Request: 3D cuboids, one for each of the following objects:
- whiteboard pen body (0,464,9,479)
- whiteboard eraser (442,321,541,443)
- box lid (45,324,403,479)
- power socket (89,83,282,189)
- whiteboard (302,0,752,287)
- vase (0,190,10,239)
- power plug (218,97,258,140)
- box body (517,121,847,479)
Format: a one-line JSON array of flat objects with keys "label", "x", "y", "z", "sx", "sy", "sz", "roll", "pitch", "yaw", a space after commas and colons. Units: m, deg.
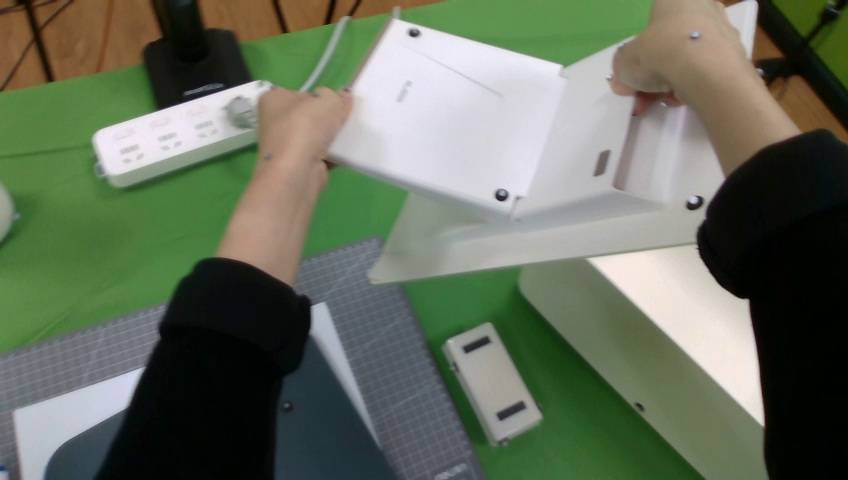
[{"label": "whiteboard pen body", "x": -0.351, "y": 0.255, "z": 0.497, "sx": 0.017, "sy": 0.017, "sz": 0.139, "roll": -11, "pitch": 65, "yaw": -13}, {"label": "whiteboard eraser", "x": 0.066, "y": 0.141, "z": 0.609, "sx": 0.056, "sy": 0.042, "sz": 0.111, "roll": -20, "pitch": 66, "yaw": -20}, {"label": "box lid", "x": -0.136, "y": 0.271, "z": 0.526, "sx": 0.263, "sy": 0.015, "sz": 0.368, "roll": -29, "pitch": 69, "yaw": -21}, {"label": "power socket", "x": -0.276, "y": -0.126, "z": 0.715, "sx": 0.227, "sy": 0.033, "sz": 0.071, "roll": -24, "pitch": 67, "yaw": -19}, {"label": "whiteboard", "x": 0.051, "y": -0.106, "z": 0.449, "sx": 0.145, "sy": 0.304, "sz": 0.216, "roll": 44, "pitch": 54, "yaw": -31}, {"label": "vase", "x": -0.475, "y": -0.059, "z": 0.557, "sx": 0.098, "sy": 0.201, "sz": 0.097, "roll": 3, "pitch": 61, "yaw": -4}, {"label": "power plug", "x": -0.215, "y": -0.132, "z": 0.701, "sx": 0.035, "sy": 0.053, "sz": 0.072, "roll": -14, "pitch": 70, "yaw": -15}, {"label": "box body", "x": 0.302, "y": 0.063, "z": 0.612, "sx": 0.254, "sy": 0.161, "sz": 0.361, "roll": -37, "pitch": 72, "yaw": -24}]
